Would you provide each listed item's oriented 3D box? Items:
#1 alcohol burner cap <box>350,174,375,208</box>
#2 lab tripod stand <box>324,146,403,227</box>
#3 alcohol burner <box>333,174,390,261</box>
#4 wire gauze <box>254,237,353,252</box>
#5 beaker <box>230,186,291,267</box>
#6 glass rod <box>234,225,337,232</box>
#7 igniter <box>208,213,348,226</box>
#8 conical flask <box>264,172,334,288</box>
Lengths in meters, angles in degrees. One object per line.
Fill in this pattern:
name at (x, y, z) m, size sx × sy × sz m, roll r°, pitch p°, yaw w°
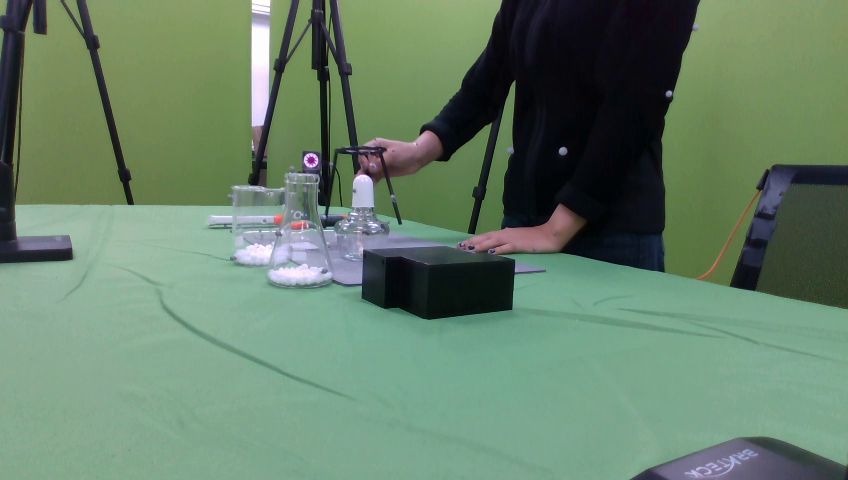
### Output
alcohol burner cap at (-0.085, -0.067, 0.829) m, size 0.034 × 0.048 × 0.034 m, roll 0°, pitch 2°, yaw 0°
lab tripod stand at (-0.097, -0.089, 1.015) m, size 0.148 × 0.131 × 0.148 m, roll -1°, pitch 3°, yaw 0°
alcohol burner at (-0.085, -0.031, 0.832) m, size 0.078 × 0.119 × 0.078 m, roll 3°, pitch 5°, yaw 0°
wire gauze at (-0.188, 0.004, 0.940) m, size 0.122 × 0.011 × 0.124 m, roll -2°, pitch 6°, yaw -34°
beaker at (-0.209, -0.019, 0.778) m, size 0.074 × 0.100 × 0.084 m, roll 3°, pitch 6°, yaw 4°
glass rod at (-0.256, -0.022, 1.136) m, size 0.201 × 0.008 × 0.008 m, roll -3°, pitch 9°, yaw -33°
igniter at (-0.283, -0.041, 1.200) m, size 0.278 × 0.025 × 0.057 m, roll -2°, pitch -2°, yaw -34°
conical flask at (-0.136, -0.013, 0.660) m, size 0.075 × 0.122 × 0.075 m, roll 2°, pitch 7°, yaw 0°
